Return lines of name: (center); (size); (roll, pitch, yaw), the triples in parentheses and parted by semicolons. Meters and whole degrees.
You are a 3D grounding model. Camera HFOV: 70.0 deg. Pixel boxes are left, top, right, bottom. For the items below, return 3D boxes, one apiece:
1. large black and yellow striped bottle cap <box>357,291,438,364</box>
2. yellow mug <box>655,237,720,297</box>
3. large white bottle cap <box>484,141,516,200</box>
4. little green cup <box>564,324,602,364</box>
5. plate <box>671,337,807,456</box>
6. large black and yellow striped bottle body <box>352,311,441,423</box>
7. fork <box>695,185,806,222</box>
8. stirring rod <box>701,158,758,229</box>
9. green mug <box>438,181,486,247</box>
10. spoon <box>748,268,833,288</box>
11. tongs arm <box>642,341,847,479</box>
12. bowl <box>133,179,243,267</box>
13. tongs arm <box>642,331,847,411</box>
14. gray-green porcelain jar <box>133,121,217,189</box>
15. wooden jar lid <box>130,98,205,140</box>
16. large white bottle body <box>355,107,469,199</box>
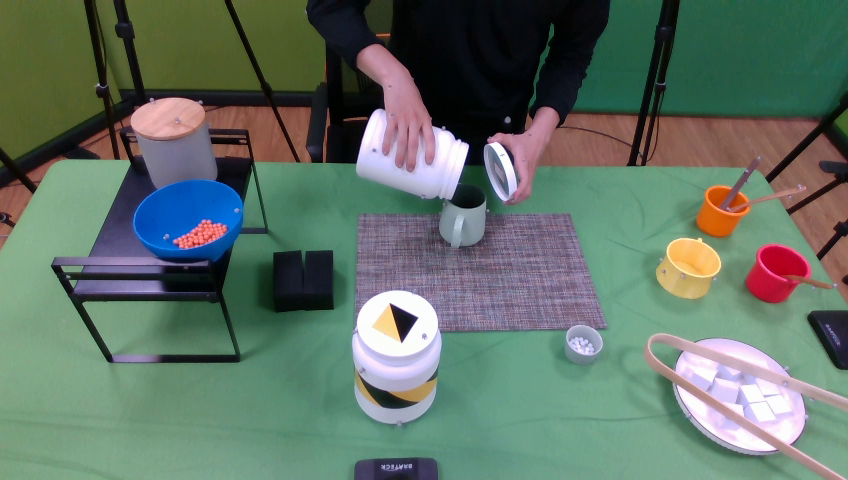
large black and yellow striped bottle cap: (-0.037, 0.121, 0.851); (0.115, 0.019, 0.114); (2, 46, -1)
yellow mug: (0.509, 0.041, 1.167); (0.099, 0.064, 0.130); (24, 48, 18)
large white bottle cap: (0.143, -0.132, 1.153); (0.018, 0.115, 0.114); (-20, 50, -9)
little green cup: (0.269, 0.179, 1.035); (0.061, 0.039, 0.061); (2, 46, -2)
plate: (0.504, 0.254, 0.984); (0.208, 0.039, 0.206); (2, 46, -2)
large black and yellow striped bottle body: (-0.042, 0.177, 0.913); (0.131, 0.185, 0.130); (2, 46, -2)
fork: (0.658, -0.074, 1.230); (0.207, 0.019, 0.028); (-23, 36, 37)
stirring rod: (0.634, -0.096, 1.257); (0.014, 0.006, 0.176); (38, 97, 29)
green mug: (0.072, -0.039, 1.178); (0.092, 0.105, 0.124); (12, 47, 7)
spoon: (0.660, 0.068, 1.097); (0.041, 0.193, 0.021); (-4, 91, -6)
tongs arm: (0.504, 0.278, 0.918); (0.386, 0.028, 0.028); (34, 59, 22)
bowl: (-0.339, -0.013, 0.895); (0.151, 0.077, 0.150); (2, 46, -2)
tongs arm: (0.546, 0.227, 0.968); (0.384, 0.026, 0.050); (22, 52, 13)
gray-green porcelain jar: (-0.397, -0.141, 0.980); (0.106, 0.127, 0.105); (2, 47, -2)
wooden jar lid: (-0.393, -0.183, 0.934); (0.108, 0.021, 0.107); (3, 44, -2)
large white bottle body: (-0.021, -0.154, 1.111); (0.185, 0.131, 0.130); (18, 47, -3)
